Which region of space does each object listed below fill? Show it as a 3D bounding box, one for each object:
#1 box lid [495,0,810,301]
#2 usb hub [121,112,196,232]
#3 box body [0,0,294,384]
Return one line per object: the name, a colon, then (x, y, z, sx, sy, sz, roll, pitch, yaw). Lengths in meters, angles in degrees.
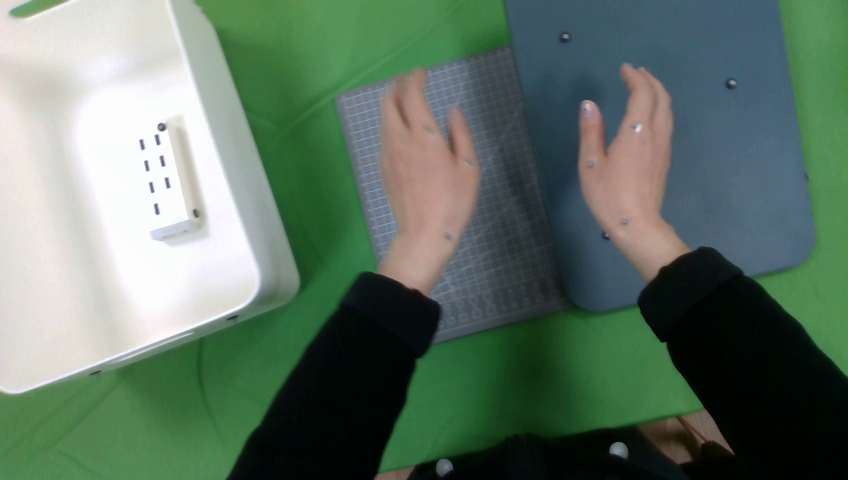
box lid: (0.232, -0.133, 0.614, 0.263, 0.015, 0.372, -14, 98, 4)
usb hub: (-0.294, -0.075, 0.673, 0.049, 0.025, 0.125, -17, 86, 1)
box body: (-0.311, -0.072, 0.612, 0.254, 0.161, 0.363, -21, 84, 2)
